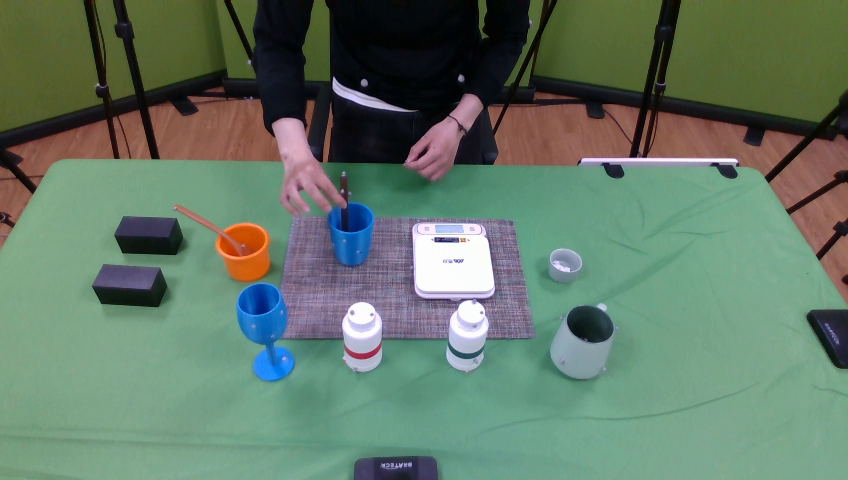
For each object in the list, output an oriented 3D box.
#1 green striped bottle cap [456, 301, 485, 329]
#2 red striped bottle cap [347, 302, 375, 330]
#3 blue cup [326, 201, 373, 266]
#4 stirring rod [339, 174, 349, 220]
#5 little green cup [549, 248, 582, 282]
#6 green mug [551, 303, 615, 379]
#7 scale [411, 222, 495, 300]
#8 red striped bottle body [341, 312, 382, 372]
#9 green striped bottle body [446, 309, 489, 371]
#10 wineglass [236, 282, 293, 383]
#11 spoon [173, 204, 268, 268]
[{"bbox_3d":[0.073,0.116,0.943,0.044,0.020,0.044,3,46,-3],"label":"green striped bottle cap"},{"bbox_3d":[-0.097,0.116,0.934,0.044,0.018,0.044,2,48,-2],"label":"red striped bottle cap"},{"bbox_3d":[-0.138,-0.006,1.132,0.093,0.101,0.092,3,44,-3],"label":"blue cup"},{"bbox_3d":[-0.145,-0.052,1.105,0.014,0.177,0.006,-5,46,-10],"label":"stirring rod"},{"bbox_3d":[0.268,0.050,1.156,0.061,0.039,0.061,1,46,-1],"label":"little green cup"},{"bbox_3d":[0.271,0.157,1.007,0.092,0.105,0.125,27,50,21],"label":"green mug"},{"bbox_3d":[0.052,0.031,1.158,0.149,0.032,0.199,1,46,-4],"label":"scale"},{"bbox_3d":[-0.100,0.154,0.972,0.063,0.120,0.062,2,46,-1],"label":"red striped bottle body"},{"bbox_3d":[0.070,0.155,0.984,0.063,0.120,0.063,2,46,-2],"label":"green striped bottle body"},{"bbox_3d":[-0.243,0.143,0.934,0.074,0.173,0.073,2,46,-2],"label":"wineglass"},{"bbox_3d":[-0.363,-0.008,1.089,0.021,0.195,0.041,-32,32,26],"label":"spoon"}]
